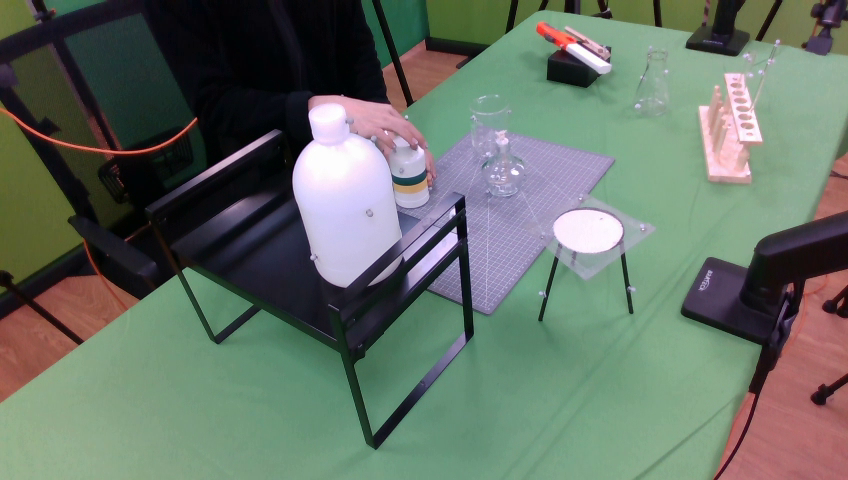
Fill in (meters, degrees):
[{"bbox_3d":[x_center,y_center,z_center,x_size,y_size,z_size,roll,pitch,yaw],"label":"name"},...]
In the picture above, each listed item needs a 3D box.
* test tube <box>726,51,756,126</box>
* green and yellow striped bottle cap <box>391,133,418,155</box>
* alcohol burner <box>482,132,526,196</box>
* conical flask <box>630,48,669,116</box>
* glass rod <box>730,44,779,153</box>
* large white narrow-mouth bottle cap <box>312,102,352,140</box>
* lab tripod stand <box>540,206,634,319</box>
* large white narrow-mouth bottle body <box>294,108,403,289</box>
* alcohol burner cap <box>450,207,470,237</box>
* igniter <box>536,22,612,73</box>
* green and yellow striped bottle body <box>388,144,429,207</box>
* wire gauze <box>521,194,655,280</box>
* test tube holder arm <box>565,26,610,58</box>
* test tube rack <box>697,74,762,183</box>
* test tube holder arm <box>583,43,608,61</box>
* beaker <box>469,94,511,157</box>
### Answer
[{"bbox_3d":[0.568,-0.268,1.086,0.017,0.151,0.017,-4,46,4],"label":"test tube"},{"bbox_3d":[-0.033,-0.160,1.007,0.045,0.020,0.045,-2,39,2],"label":"green and yellow striped bottle cap"},{"bbox_3d":[0.137,-0.136,1.042,0.078,0.119,0.077,-4,43,4],"label":"alcohol burner"},{"bbox_3d":[0.456,-0.317,1.205,0.075,0.122,0.075,-4,41,4],"label":"conical flask"},{"bbox_3d":[0.555,-0.234,1.020,0.008,0.200,0.008,2,40,-1],"label":"glass rod"},{"bbox_3d":[-0.089,-0.114,0.579,0.038,0.024,0.037,-3,39,3],"label":"large white narrow-mouth bottle cap"},{"bbox_3d":[0.218,0.034,0.821,0.148,0.132,0.147,-4,42,4],"label":"lab tripod stand"},{"bbox_3d":[-0.082,-0.047,0.634,0.102,0.195,0.101,-4,39,4],"label":"large white narrow-mouth bottle body"},{"bbox_3d":[0.057,-0.032,0.987,0.034,0.048,0.033,-4,41,4],"label":"alcohol burner cap"},{"bbox_3d":[0.330,-0.439,1.366,0.057,0.025,0.274,-12,41,-20],"label":"igniter"},{"bbox_3d":[-0.027,-0.121,1.042,0.063,0.120,0.063,-4,41,4],"label":"green and yellow striped bottle body"},{"bbox_3d":[0.207,-0.012,0.772,0.122,0.011,0.124,-28,44,-20],"label":"wire gauze"},{"bbox_3d":[0.369,-0.450,1.373,0.013,0.015,0.177,-39,41,10],"label":"test tube holder arm"},{"bbox_3d":[0.547,-0.208,1.095,0.066,0.085,0.242,5,42,14],"label":"test tube rack"},{"bbox_3d":[0.379,-0.420,1.341,0.010,0.015,0.087,-39,41,10],"label":"test tube holder arm"},{"bbox_3d":[0.124,-0.216,1.148,0.074,0.101,0.083,-21,42,-16],"label":"beaker"}]
